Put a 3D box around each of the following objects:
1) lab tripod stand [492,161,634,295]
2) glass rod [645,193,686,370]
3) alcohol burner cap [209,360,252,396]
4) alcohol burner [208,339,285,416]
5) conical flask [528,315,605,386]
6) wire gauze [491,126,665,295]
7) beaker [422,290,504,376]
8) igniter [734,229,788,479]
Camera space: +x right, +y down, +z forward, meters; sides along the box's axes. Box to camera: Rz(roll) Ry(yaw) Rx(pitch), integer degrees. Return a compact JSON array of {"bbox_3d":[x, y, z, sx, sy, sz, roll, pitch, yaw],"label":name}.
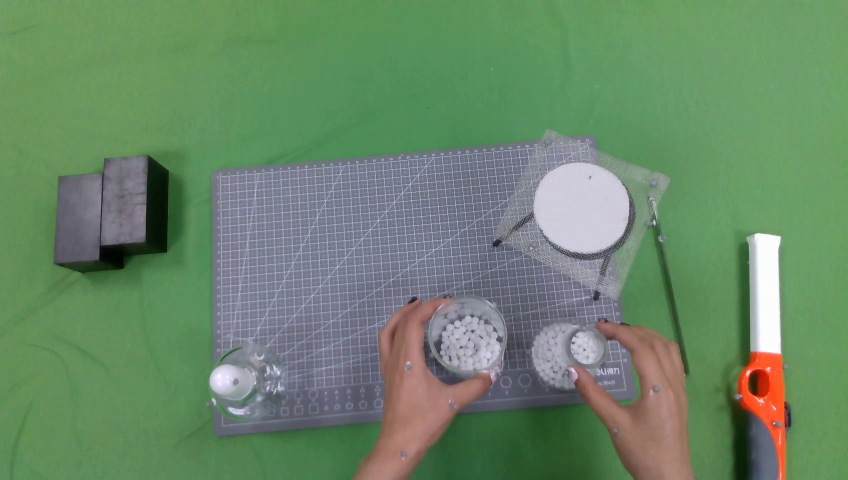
[{"bbox_3d":[0.145,-0.014,0.616,0.148,0.132,0.147,-1,79,3],"label":"lab tripod stand"},{"bbox_3d":[0.265,0.043,0.667,0.008,0.008,0.198,-7,77,0],"label":"glass rod"},{"bbox_3d":[-0.184,0.128,0.569,0.034,0.048,0.033,0,70,0],"label":"alcohol burner cap"},{"bbox_3d":[-0.182,0.137,0.604,0.078,0.119,0.077,-1,79,3],"label":"alcohol burner"},{"bbox_3d":[0.146,0.105,0.596,0.075,0.122,0.075,0,77,3],"label":"conical flask"},{"bbox_3d":[0.140,-0.031,0.551,0.125,0.011,0.121,26,82,8],"label":"wire gauze"},{"bbox_3d":[0.044,0.100,0.608,0.074,0.101,0.083,-42,74,-8],"label":"beaker"},{"bbox_3d":[0.353,0.124,0.636,0.057,0.025,0.275,8,78,-7],"label":"igniter"}]
